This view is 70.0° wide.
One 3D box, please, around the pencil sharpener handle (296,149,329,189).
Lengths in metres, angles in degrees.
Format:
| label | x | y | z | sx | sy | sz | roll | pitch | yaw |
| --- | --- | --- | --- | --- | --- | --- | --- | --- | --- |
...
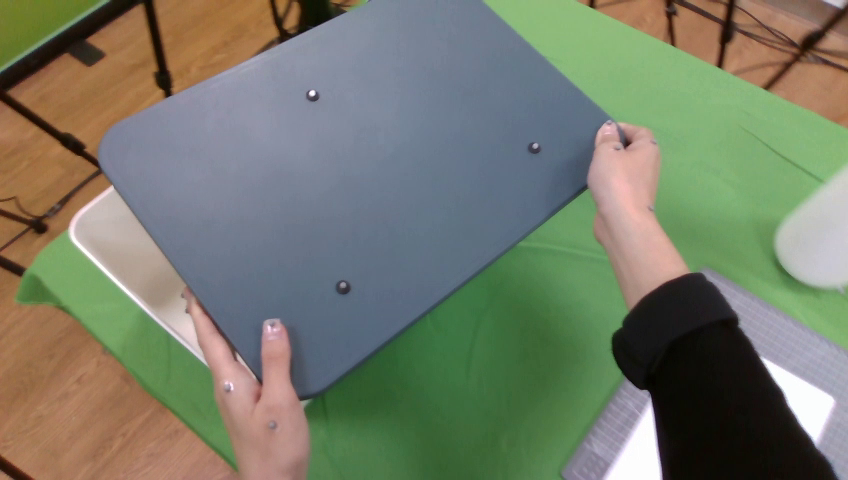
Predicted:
| label | x | y | z | sx | sy | sz | roll | pitch | yaw |
| --- | --- | --- | --- | --- | --- | --- | --- | --- | --- |
| pencil sharpener handle | -0.127 | -0.088 | 0.698 | 0.036 | 0.068 | 0.030 | -14 | 59 | -3 |

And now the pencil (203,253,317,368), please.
| label | x | y | z | sx | sy | sz | roll | pitch | yaw |
| --- | --- | --- | --- | --- | --- | --- | --- | --- | --- |
| pencil | -0.184 | 0.077 | 0.675 | 0.193 | 0.012 | 0.012 | 40 | 68 | 18 |

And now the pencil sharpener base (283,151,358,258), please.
| label | x | y | z | sx | sy | sz | roll | pitch | yaw |
| --- | --- | --- | --- | --- | --- | --- | --- | --- | --- |
| pencil sharpener base | -0.116 | -0.039 | 0.683 | 0.061 | 0.108 | 0.076 | -12 | 59 | -6 |

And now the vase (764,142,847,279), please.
| label | x | y | z | sx | sy | sz | roll | pitch | yaw |
| --- | --- | --- | --- | --- | --- | --- | --- | --- | --- |
| vase | 0.441 | -0.040 | 0.632 | 0.098 | 0.201 | 0.097 | -1 | 58 | 1 |

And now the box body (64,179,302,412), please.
| label | x | y | z | sx | sy | sz | roll | pitch | yaw |
| --- | --- | --- | --- | --- | --- | --- | --- | --- | --- |
| box body | -0.131 | -0.030 | 0.654 | 0.252 | 0.162 | 0.363 | 34 | 66 | 19 |

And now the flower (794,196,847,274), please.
| label | x | y | z | sx | sy | sz | roll | pitch | yaw |
| --- | --- | --- | --- | --- | --- | --- | --- | --- | --- |
| flower | 0.442 | -0.095 | 0.567 | 0.044 | 0.364 | 0.038 | 27 | 46 | 20 |

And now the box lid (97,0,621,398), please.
| label | x | y | z | sx | sy | sz | roll | pitch | yaw |
| --- | --- | --- | --- | --- | --- | --- | --- | --- | --- |
| box lid | -0.035 | -0.079 | 0.497 | 0.371 | 0.015 | 0.262 | -36 | 76 | -21 |
